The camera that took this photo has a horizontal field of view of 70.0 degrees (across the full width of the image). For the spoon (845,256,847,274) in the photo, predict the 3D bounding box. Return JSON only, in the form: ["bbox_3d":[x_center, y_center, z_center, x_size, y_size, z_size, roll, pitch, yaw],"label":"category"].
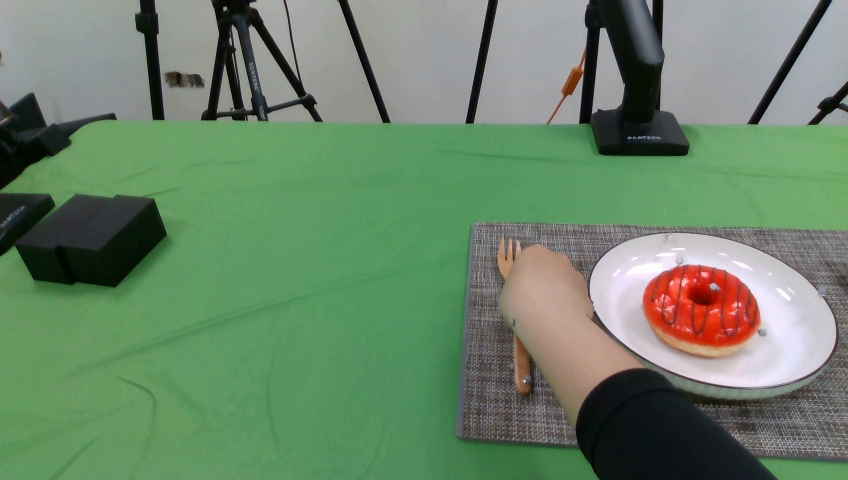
[{"bbox_3d":[0.425,0.077,0.541,0.042,0.022,0.192,17,37,-3],"label":"spoon"}]

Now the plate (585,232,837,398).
[{"bbox_3d":[0.253,0.067,0.553,0.209,0.038,0.207,-1,36,1],"label":"plate"}]

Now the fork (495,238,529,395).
[{"bbox_3d":[0.086,0.064,0.583,0.028,0.019,0.205,13,35,-6],"label":"fork"}]

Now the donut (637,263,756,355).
[{"bbox_3d":[0.243,0.060,0.543,0.099,0.049,0.098,-3,39,3],"label":"donut"}]
